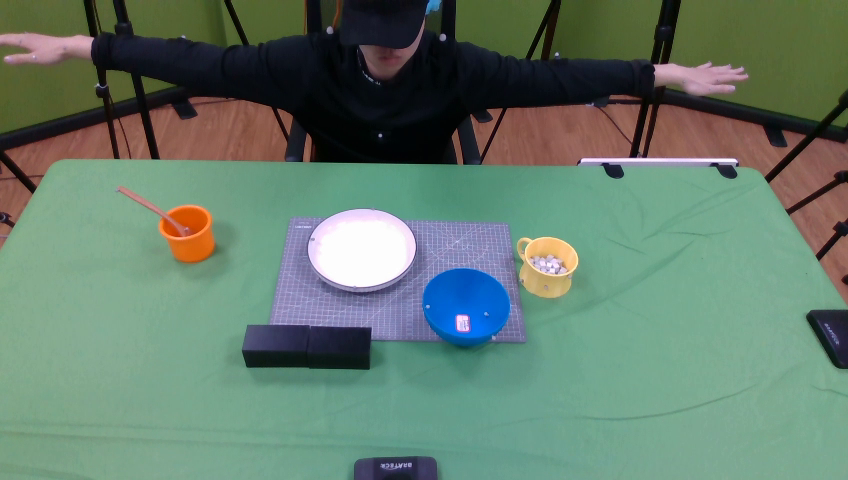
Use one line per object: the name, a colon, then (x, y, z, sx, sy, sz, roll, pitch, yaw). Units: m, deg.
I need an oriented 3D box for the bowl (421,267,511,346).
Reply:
bowl: (0.068, 0.128, 1.037, 0.151, 0.077, 0.150, 3, 46, -2)

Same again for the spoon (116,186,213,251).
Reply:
spoon: (-0.474, -0.041, 1.112, 0.021, 0.195, 0.041, -30, 32, 30)

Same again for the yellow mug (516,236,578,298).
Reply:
yellow mug: (0.223, 0.041, 1.145, 0.100, 0.064, 0.130, -30, 54, -28)

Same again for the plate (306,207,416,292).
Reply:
plate: (-0.119, 0.021, 1.153, 0.209, 0.038, 0.208, 2, 46, -2)
